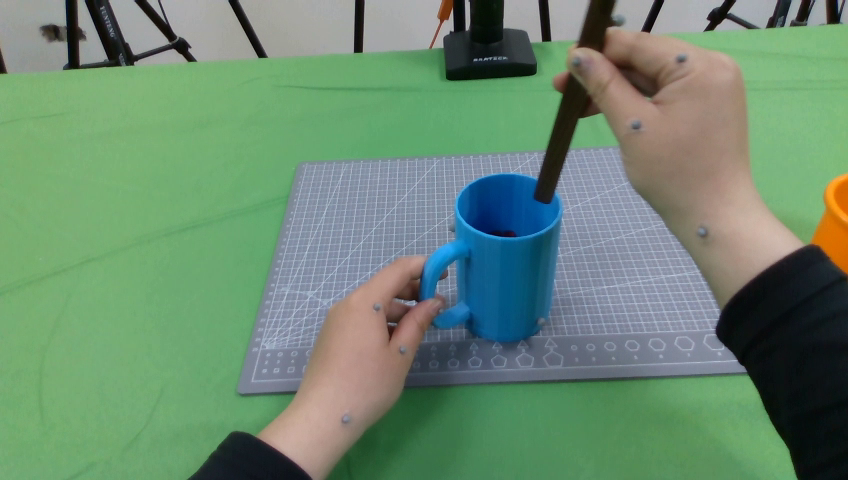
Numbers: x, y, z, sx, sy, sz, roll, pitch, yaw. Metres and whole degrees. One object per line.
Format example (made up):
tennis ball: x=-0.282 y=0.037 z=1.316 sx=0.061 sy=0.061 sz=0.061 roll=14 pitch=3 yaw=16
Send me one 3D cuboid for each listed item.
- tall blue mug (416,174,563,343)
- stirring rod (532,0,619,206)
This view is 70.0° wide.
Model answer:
tall blue mug: x=0.052 y=0.025 z=0.450 sx=0.077 sy=0.109 sz=0.107 roll=20 pitch=47 yaw=23
stirring rod: x=0.087 y=-0.086 z=0.345 sx=0.014 sy=0.177 sz=0.006 roll=20 pitch=48 yaw=12
